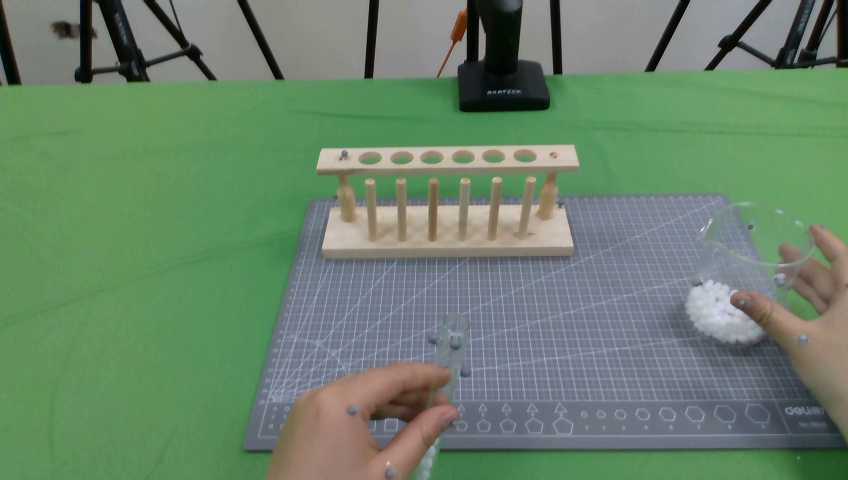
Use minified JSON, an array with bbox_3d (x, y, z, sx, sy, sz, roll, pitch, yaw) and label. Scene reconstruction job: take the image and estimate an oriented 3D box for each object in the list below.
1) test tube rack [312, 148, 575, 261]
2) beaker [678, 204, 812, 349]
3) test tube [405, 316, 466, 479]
[{"bbox_3d":[0.018,-0.034,0.585,0.242,0.086,0.066,0,42,1],"label":"test tube rack"},{"bbox_3d":[0.251,0.033,0.491,0.084,0.101,0.073,-1,41,3],"label":"beaker"},{"bbox_3d":[0.005,0.106,0.363,0.017,0.151,0.017,7,34,-4],"label":"test tube"}]
